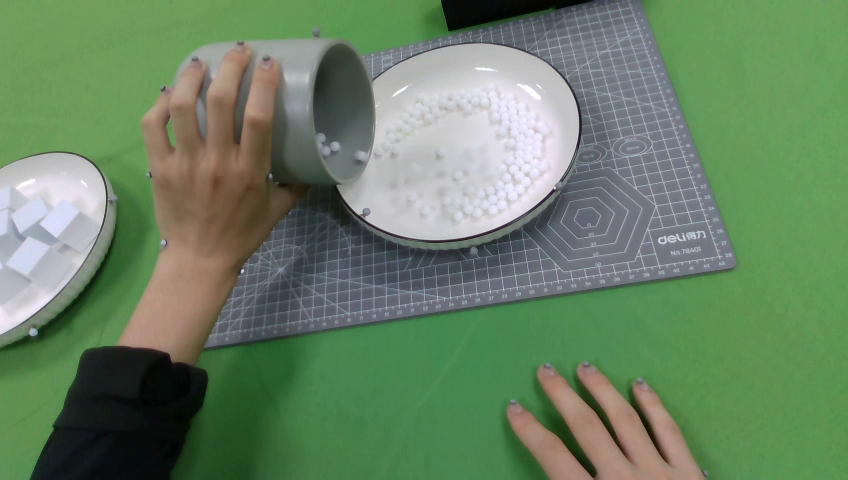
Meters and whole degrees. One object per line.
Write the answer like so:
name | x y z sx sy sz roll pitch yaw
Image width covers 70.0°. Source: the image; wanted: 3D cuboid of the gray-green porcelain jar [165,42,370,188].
gray-green porcelain jar | -0.120 -0.093 0.463 0.126 0.107 0.105 3 60 19

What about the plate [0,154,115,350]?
plate | -0.377 0.013 0.559 0.207 0.039 0.205 -7 58 11

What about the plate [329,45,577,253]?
plate | 0.021 -0.076 0.503 0.209 0.038 0.207 -7 58 11
